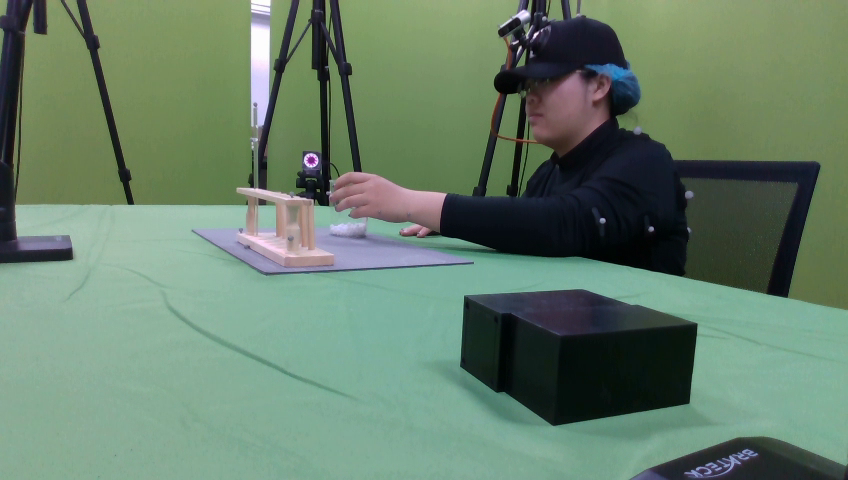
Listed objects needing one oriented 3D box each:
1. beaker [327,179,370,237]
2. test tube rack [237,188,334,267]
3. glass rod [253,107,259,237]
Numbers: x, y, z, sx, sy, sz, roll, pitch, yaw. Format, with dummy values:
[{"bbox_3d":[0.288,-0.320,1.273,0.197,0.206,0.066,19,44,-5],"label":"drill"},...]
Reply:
[{"bbox_3d":[-0.134,-0.058,1.086,0.074,0.100,0.083,-5,11,-45],"label":"beaker"},{"bbox_3d":[-0.202,-0.024,0.855,0.067,0.085,0.241,-2,8,-30],"label":"test tube rack"},{"bbox_3d":[-0.254,-0.101,0.912,0.008,0.199,0.008,1,4,0],"label":"glass rod"}]
